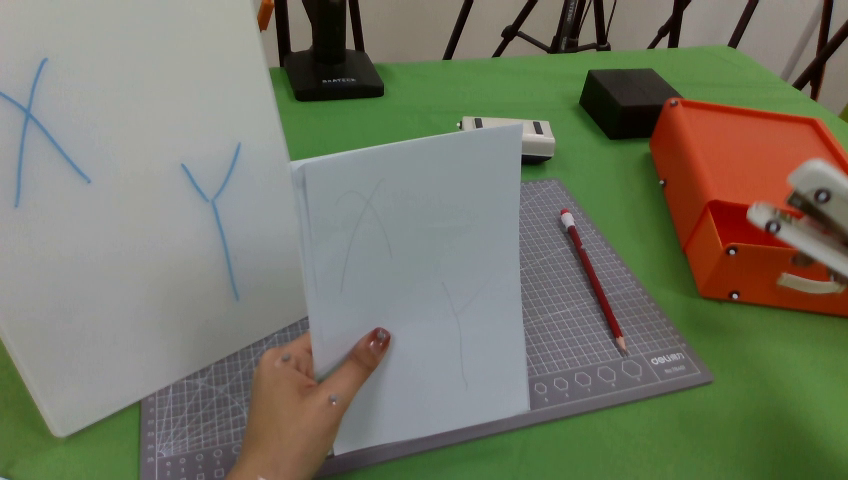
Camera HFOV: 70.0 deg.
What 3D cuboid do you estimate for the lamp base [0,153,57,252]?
[{"bbox_3d":[-0.435,-0.092,0.512,0.178,0.182,0.160,19,42,16],"label":"lamp base"}]

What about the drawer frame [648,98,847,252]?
[{"bbox_3d":[0.378,-0.066,0.685,0.202,0.083,0.211,7,41,0],"label":"drawer frame"}]

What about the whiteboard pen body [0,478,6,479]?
[{"bbox_3d":[-0.234,0.165,0.377,0.140,0.017,0.017,12,41,5],"label":"whiteboard pen body"}]

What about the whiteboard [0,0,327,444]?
[{"bbox_3d":[-0.228,-0.054,0.451,0.217,0.308,0.142,-26,32,-31],"label":"whiteboard"}]

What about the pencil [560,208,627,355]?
[{"bbox_3d":[0.164,0.033,0.591,0.012,0.012,0.192,-1,44,-9],"label":"pencil"}]

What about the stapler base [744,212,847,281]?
[{"bbox_3d":[0.304,0.009,0.445,0.130,0.024,0.041,33,29,18],"label":"stapler base"}]

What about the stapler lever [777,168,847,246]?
[{"bbox_3d":[0.314,-0.011,0.434,0.117,0.040,0.027,33,30,18],"label":"stapler lever"}]

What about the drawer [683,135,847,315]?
[{"bbox_3d":[0.372,-0.024,0.640,0.194,0.074,0.210,7,41,1],"label":"drawer"}]

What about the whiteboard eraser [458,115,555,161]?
[{"bbox_3d":[0.099,-0.123,0.738,0.113,0.042,0.055,3,43,-6],"label":"whiteboard eraser"}]
